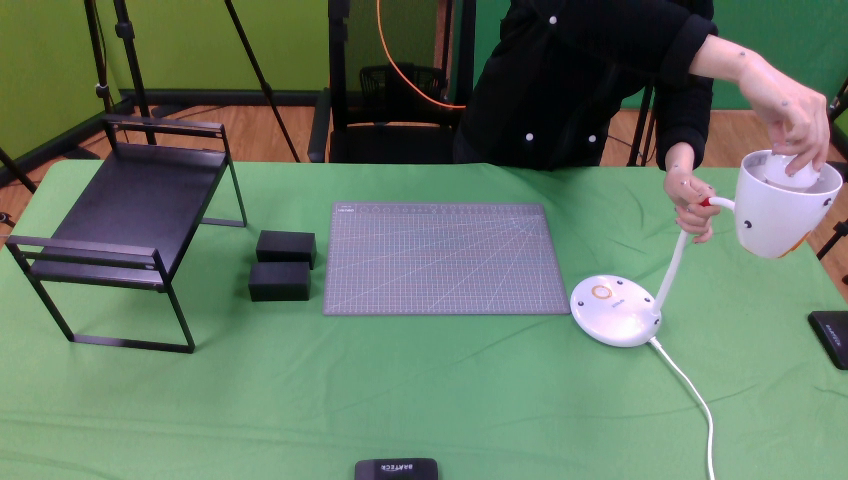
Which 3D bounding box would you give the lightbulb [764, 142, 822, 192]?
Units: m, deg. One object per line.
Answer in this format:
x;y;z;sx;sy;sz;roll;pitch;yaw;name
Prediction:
0.442;-0.067;0.739;0.059;0.108;0.059;1;30;0;lightbulb

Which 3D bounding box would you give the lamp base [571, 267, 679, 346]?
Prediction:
0.360;0.077;1.037;0.160;0.181;0.178;-34;59;-31;lamp base

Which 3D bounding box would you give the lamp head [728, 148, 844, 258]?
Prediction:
0.438;-0.041;0.758;0.112;0.123;0.111;1;40;-1;lamp head
